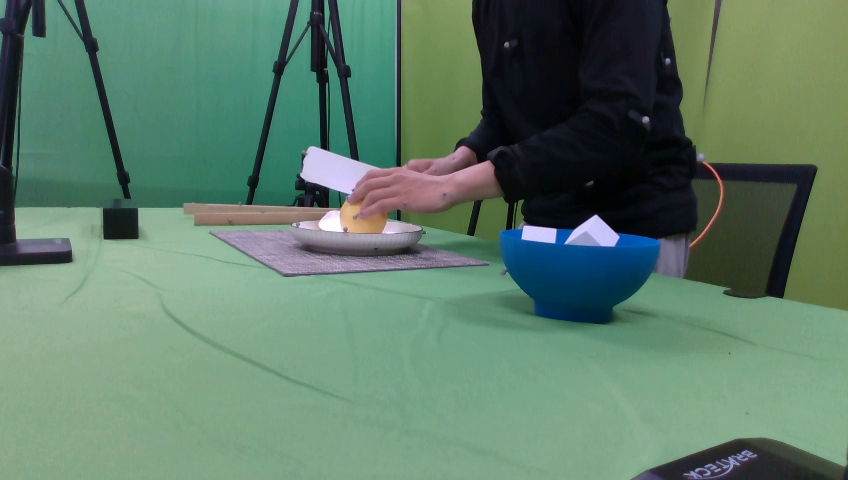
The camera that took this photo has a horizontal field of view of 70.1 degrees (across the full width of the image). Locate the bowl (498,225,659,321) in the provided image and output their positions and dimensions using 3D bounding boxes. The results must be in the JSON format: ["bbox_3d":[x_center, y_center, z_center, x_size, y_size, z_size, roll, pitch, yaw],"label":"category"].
[{"bbox_3d":[0.145,0.032,0.585,0.151,0.077,0.151,2,7,0],"label":"bowl"}]

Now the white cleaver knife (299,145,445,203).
[{"bbox_3d":[-0.081,-0.098,1.028,0.288,0.066,0.021,12,-8,-35],"label":"white cleaver knife"}]

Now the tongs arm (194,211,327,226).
[{"bbox_3d":[-0.298,-0.049,1.307,0.390,0.028,0.028,-3,8,-38],"label":"tongs arm"}]

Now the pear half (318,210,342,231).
[{"bbox_3d":[-0.142,-0.021,1.012,0.071,0.031,0.087,-4,26,-22],"label":"pear half"}]

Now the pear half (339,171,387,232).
[{"bbox_3d":[-0.089,-0.052,0.948,0.077,0.110,0.055,-5,16,-40],"label":"pear half"}]

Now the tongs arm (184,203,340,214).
[{"bbox_3d":[-0.337,-0.065,1.376,0.387,0.026,0.050,0,9,-25],"label":"tongs arm"}]

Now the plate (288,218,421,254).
[{"bbox_3d":[-0.109,-0.008,0.957,0.208,0.039,0.207,2,8,0],"label":"plate"}]
